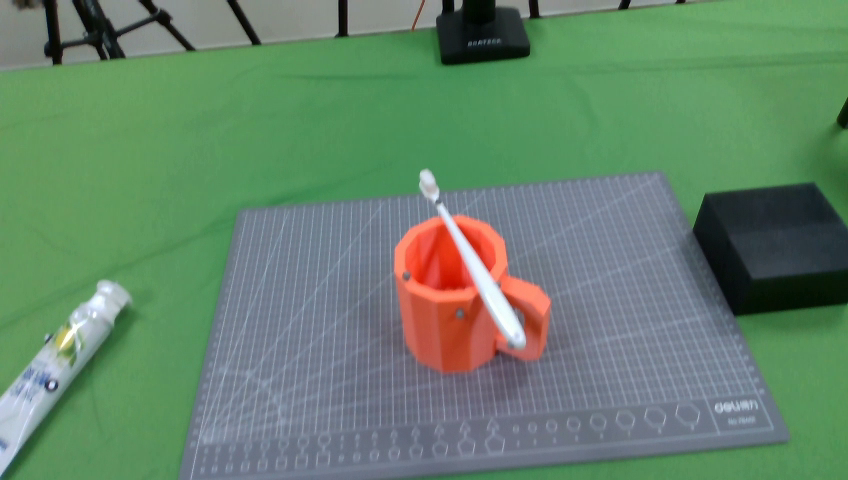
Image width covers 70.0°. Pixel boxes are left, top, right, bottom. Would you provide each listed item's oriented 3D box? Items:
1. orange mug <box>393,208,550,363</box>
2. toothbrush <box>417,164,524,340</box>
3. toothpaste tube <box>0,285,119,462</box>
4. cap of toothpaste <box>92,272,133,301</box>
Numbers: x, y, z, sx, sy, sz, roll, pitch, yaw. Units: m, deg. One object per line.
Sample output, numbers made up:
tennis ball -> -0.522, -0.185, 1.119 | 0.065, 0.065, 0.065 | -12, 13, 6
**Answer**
orange mug -> 0.038, 0.042, 0.480 | 0.125, 0.102, 0.083 | 17, 51, 25
toothbrush -> 0.030, 0.001, 0.447 | 0.014, 0.017, 0.179 | -17, 49, -13
toothpaste tube -> -0.317, 0.103, 0.508 | 0.055, 0.035, 0.164 | 10, 53, 23
cap of toothpaste -> -0.285, 0.043, 0.552 | 0.037, 0.038, 0.011 | 7, 47, 11
